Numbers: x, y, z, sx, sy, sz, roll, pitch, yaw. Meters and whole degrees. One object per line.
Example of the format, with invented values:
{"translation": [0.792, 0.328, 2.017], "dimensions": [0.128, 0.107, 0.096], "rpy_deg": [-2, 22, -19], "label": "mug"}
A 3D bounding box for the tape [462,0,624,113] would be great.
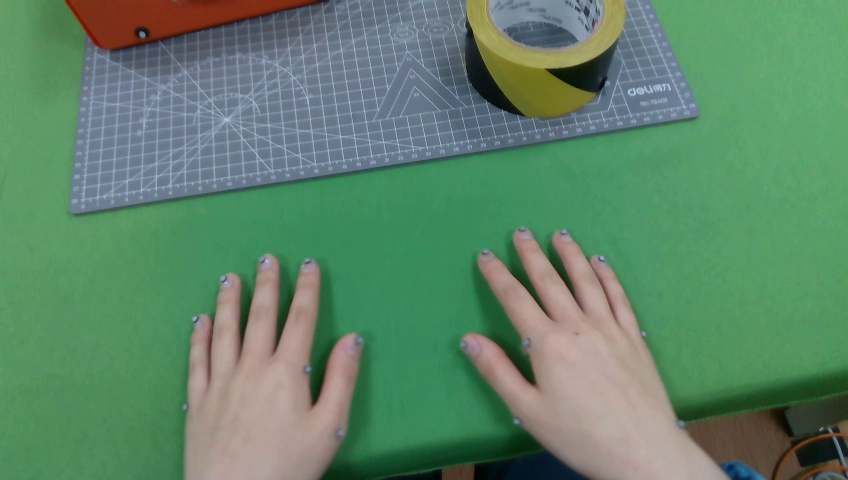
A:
{"translation": [0.085, -0.152, 0.441], "dimensions": [0.117, 0.053, 0.116], "rpy_deg": [-1, 65, 2], "label": "tape"}

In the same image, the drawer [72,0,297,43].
{"translation": [-0.185, -0.276, 0.488], "dimensions": [0.195, 0.074, 0.210], "rpy_deg": [-16, 65, -6], "label": "drawer"}

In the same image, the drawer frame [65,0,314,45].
{"translation": [-0.187, -0.278, 0.488], "dimensions": [0.202, 0.083, 0.211], "rpy_deg": [-17, 64, -6], "label": "drawer frame"}
